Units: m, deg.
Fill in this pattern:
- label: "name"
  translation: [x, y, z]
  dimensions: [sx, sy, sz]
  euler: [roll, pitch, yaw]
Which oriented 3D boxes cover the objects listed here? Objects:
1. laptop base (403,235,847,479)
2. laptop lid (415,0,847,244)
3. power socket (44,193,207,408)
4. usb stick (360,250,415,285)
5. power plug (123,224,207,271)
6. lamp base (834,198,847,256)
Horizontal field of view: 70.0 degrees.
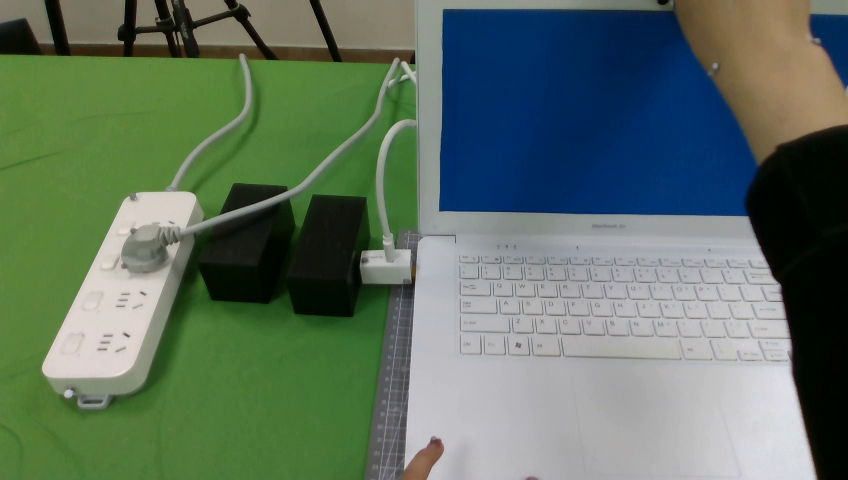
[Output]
- label: "laptop base"
  translation: [0.165, 0.090, 0.484]
  dimensions: [0.354, 0.023, 0.233]
  euler: [1, 49, 1]
- label: "laptop lid"
  translation: [0.169, -0.090, 0.492]
  dimensions: [0.357, 0.244, 0.013]
  euler: [0, 38, 2]
- label: "power socket"
  translation: [-0.249, 0.037, 0.526]
  dimensions: [0.072, 0.033, 0.224]
  euler: [1, 45, -1]
- label: "usb stick"
  translation: [-0.025, 0.024, 0.531]
  dimensions: [0.059, 0.027, 0.021]
  euler: [1, 43, 0]
- label: "power plug"
  translation: [-0.220, 0.014, 0.516]
  dimensions: [0.072, 0.053, 0.035]
  euler: [8, 46, 7]
- label: "lamp base"
  translation: [0.473, -0.055, 0.510]
  dimensions: [0.159, 0.182, 0.179]
  euler: [32, 50, 28]
